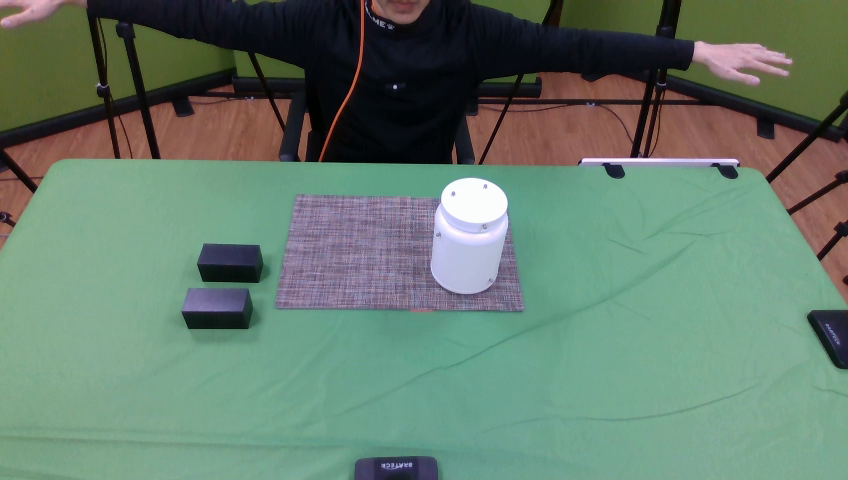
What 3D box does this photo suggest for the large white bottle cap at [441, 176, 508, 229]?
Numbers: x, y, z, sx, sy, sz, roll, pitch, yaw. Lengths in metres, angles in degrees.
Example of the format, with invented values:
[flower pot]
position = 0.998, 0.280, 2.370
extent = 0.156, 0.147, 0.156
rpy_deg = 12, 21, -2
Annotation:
[large white bottle cap]
position = 0.086, -0.065, 1.030
extent = 0.115, 0.018, 0.114
rpy_deg = 2, 47, -2

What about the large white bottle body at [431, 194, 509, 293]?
[large white bottle body]
position = 0.081, -0.007, 1.091
extent = 0.131, 0.185, 0.130
rpy_deg = 2, 47, -2
